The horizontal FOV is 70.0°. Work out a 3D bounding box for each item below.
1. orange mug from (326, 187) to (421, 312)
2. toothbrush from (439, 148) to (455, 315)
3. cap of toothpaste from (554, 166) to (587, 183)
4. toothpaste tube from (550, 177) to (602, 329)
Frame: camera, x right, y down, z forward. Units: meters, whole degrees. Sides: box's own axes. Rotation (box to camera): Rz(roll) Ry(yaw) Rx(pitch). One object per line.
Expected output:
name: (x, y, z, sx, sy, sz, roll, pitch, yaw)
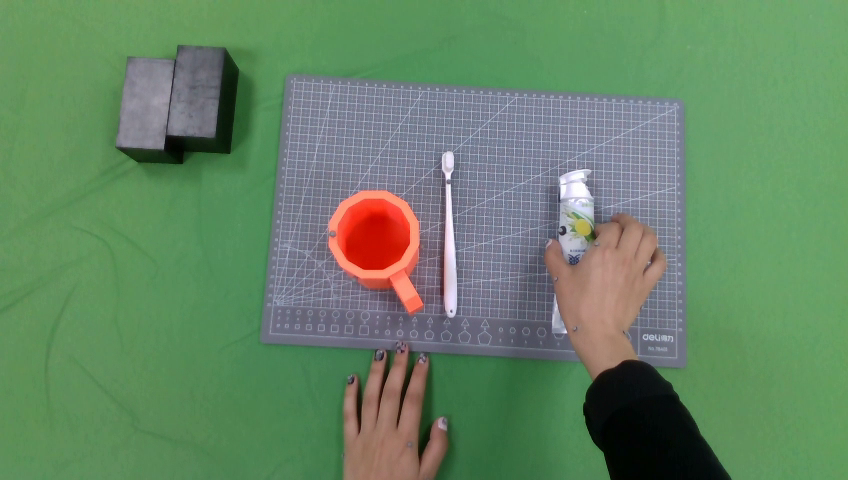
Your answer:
orange mug: (-0.040, 0.015, 0.605, 0.083, 0.101, 0.125, -30, 78, -6)
toothbrush: (0.025, -0.011, 0.652, 0.014, 0.016, 0.181, 1, 82, -16)
cap of toothpaste: (0.159, -0.070, 0.653, 0.037, 0.037, 0.011, -13, 78, -4)
toothpaste tube: (0.159, 0.012, 0.647, 0.055, 0.034, 0.164, -2, 85, 5)
